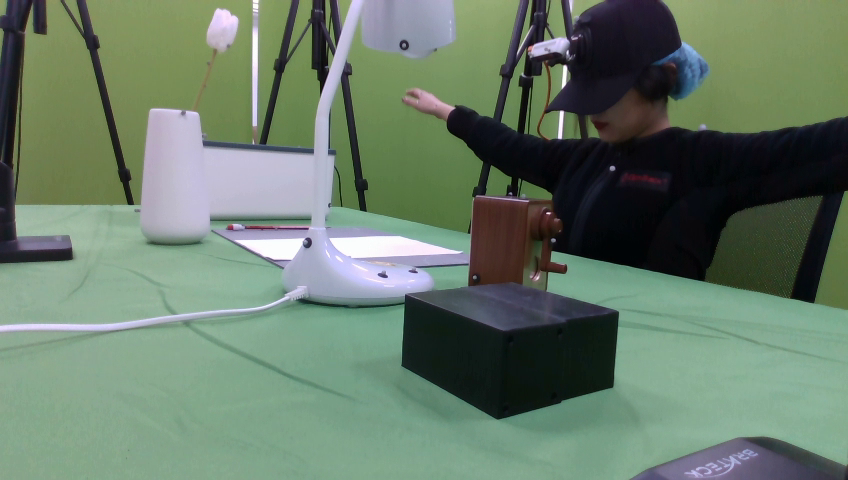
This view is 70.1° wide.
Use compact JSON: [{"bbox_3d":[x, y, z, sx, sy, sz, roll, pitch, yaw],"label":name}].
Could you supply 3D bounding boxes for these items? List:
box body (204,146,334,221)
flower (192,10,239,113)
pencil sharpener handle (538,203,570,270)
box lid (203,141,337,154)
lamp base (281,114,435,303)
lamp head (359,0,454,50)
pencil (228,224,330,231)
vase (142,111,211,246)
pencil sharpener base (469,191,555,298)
[{"bbox_3d":[-0.413,-0.134,1.379,0.366,0.160,0.253,-2,9,-31],"label":"box body"},{"bbox_3d":[-0.354,-0.174,0.915,0.038,0.361,0.044,18,-4,12],"label":"flower"},{"bbox_3d":[0.137,-0.003,0.619,0.030,0.067,0.036,8,5,38],"label":"pencil sharpener handle"},{"bbox_3d":[-0.407,-0.209,1.370,0.373,0.015,0.262,-1,8,-31],"label":"box lid"},{"bbox_3d":[-0.071,-0.035,0.614,0.160,0.180,0.180,6,10,27],"label":"lamp base"},{"bbox_3d":[-0.024,-0.283,0.674,0.112,0.123,0.112,-3,38,3],"label":"lamp head"},{"bbox_3d":[-0.265,-0.023,1.124,0.195,0.012,0.012,-1,8,-32],"label":"pencil"},{"bbox_3d":[-0.378,-0.093,0.920,0.098,0.200,0.098,2,9,0],"label":"vase"},{"bbox_3d":[0.097,0.003,0.652,0.076,0.107,0.061,8,9,38],"label":"pencil sharpener base"}]
